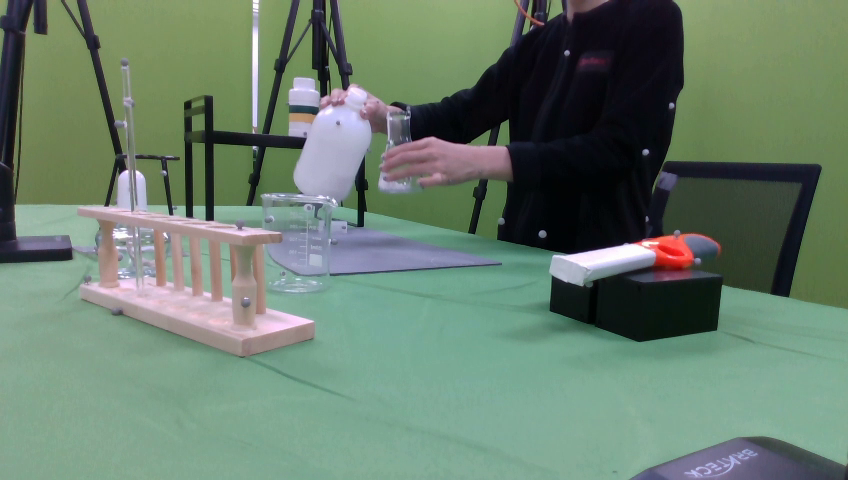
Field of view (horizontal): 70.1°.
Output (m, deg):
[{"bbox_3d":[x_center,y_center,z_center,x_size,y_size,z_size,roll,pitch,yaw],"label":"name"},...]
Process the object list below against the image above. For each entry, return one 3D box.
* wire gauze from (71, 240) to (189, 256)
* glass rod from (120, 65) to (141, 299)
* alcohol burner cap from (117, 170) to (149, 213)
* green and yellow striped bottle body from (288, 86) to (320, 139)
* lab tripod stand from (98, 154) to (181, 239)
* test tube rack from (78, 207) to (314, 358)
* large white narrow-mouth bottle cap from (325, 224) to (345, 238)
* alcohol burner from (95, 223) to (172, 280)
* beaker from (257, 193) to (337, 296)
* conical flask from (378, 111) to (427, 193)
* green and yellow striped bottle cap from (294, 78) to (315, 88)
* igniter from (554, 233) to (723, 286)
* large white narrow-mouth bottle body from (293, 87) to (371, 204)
[{"bbox_3d":[-0.399,0.013,0.820,0.126,0.011,0.121,-3,8,-37],"label":"wire gauze"},{"bbox_3d":[-0.248,-0.047,0.513,0.008,0.199,0.008,-1,4,0],"label":"glass rod"},{"bbox_3d":[-0.320,-0.052,0.661,0.034,0.048,0.034,-3,0,0],"label":"alcohol burner cap"},{"bbox_3d":[-0.250,-0.272,1.261,0.063,0.119,0.063,3,7,0],"label":"green and yellow striped bottle body"},{"bbox_3d":[-0.427,-0.066,0.942,0.148,0.131,0.148,1,6,0],"label":"lab tripod stand"},{"bbox_3d":[-0.197,0.024,0.500,0.241,0.085,0.067,8,8,37],"label":"test tube rack"},{"bbox_3d":[-0.160,-0.017,1.090,0.038,0.024,0.037,3,9,0],"label":"large white narrow-mouth bottle cap"},{"bbox_3d":[-0.320,-0.017,0.667,0.078,0.119,0.078,0,7,0],"label":"alcohol burner"},{"bbox_3d":[-0.130,0.004,0.628,0.084,0.100,0.074,5,8,15],"label":"beaker"},{"bbox_3d":[-0.036,-0.134,0.925,0.075,0.122,0.075,-3,8,1],"label":"conical flask"},{"bbox_3d":[-0.248,-0.324,1.256,0.045,0.020,0.045,4,8,0],"label":"green and yellow striped bottle cap"},{"bbox_3d":[0.214,0.015,0.570,0.278,0.025,0.057,-5,22,-44],"label":"igniter"},{"bbox_3d":[-0.144,-0.163,1.012,0.102,0.194,0.101,21,29,-12],"label":"large white narrow-mouth bottle body"}]
